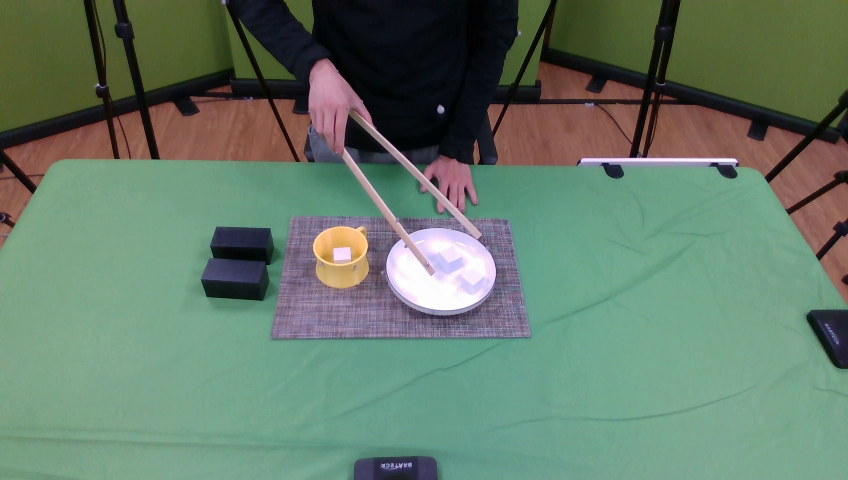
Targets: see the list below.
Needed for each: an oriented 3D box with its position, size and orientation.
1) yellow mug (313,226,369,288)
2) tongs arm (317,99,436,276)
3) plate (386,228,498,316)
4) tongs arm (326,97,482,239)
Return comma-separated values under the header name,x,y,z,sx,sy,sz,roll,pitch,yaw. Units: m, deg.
name,x,y,z,sx,sy,sz,roll,pitch,yaw
yellow mug,-0.146,0.021,1.131,0.099,0.064,0.130,24,49,19
tongs arm,-0.085,-0.100,1.112,0.051,0.026,0.384,-35,82,-26
plate,0.032,0.062,1.126,0.208,0.039,0.206,2,46,-2
tongs arm,-0.036,-0.137,1.145,0.387,0.028,0.028,43,67,2
